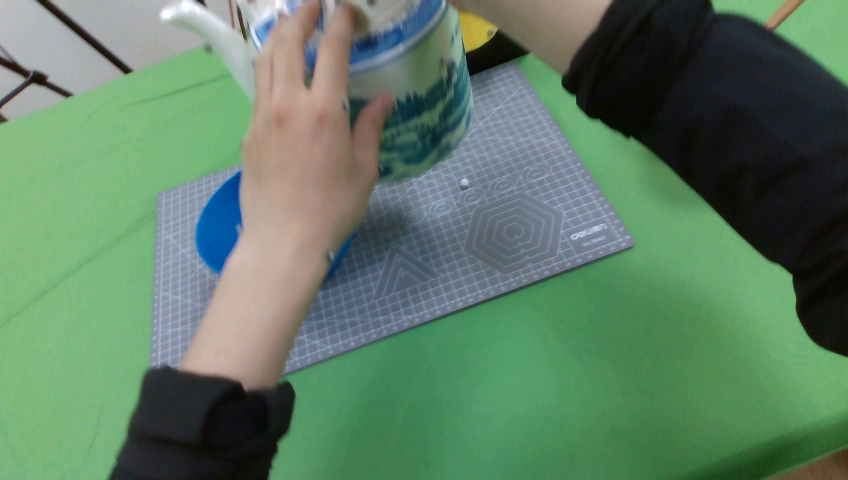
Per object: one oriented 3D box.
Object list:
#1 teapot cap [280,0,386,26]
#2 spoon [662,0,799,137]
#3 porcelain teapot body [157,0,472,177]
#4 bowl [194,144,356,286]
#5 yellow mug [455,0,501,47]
[{"bbox_3d":[-0.057,-0.175,0.400,0.085,0.044,0.084,-6,61,11],"label":"teapot cap"},{"bbox_3d":[0.280,-0.166,0.521,0.022,0.194,0.041,11,41,-31],"label":"spoon"},{"bbox_3d":[-0.077,-0.153,0.438,0.205,0.227,0.144,-9,60,8],"label":"porcelain teapot body"},{"bbox_3d":[-0.126,-0.010,0.569,0.151,0.077,0.150,-8,51,11],"label":"bowl"},{"bbox_3d":[0.025,-0.255,0.656,0.099,0.064,0.130,8,59,23],"label":"yellow mug"}]
